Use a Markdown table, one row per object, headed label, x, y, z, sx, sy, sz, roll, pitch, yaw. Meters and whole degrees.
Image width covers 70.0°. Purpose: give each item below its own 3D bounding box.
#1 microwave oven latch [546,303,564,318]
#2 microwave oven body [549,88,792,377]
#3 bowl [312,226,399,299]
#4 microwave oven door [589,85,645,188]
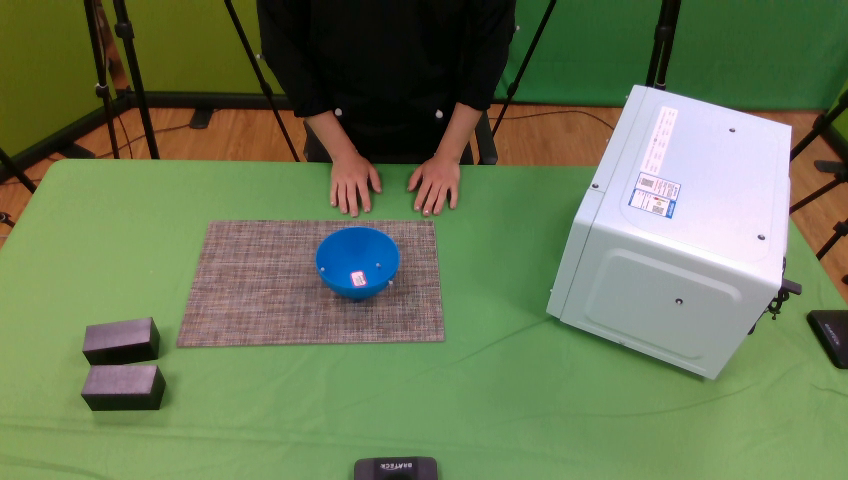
| label | x | y | z | sx | sy | sz | roll | pitch | yaw |
| --- | --- | --- | --- | --- | --- | --- | --- | --- | --- |
| microwave oven latch | 0.242 | 0.102 | 1.081 | 0.030 | 0.029 | 0.079 | 21 | 48 | 17 |
| microwave oven body | 0.456 | -0.028 | 1.088 | 0.325 | 0.261 | 0.440 | 20 | 47 | 16 |
| bowl | -0.120 | 0.054 | 1.091 | 0.151 | 0.077 | 0.150 | 2 | 46 | -2 |
| microwave oven door | 0.342 | -0.107 | 1.149 | 0.039 | 0.245 | 0.354 | 20 | 48 | 15 |
